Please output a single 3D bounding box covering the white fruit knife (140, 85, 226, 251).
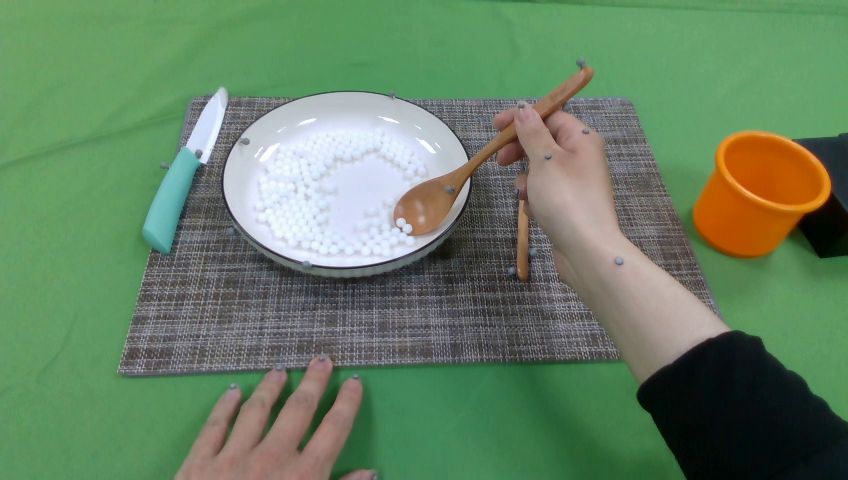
[{"bbox_3d":[-0.211,-0.075,0.543,0.027,0.016,0.205,24,46,-22],"label":"white fruit knife"}]

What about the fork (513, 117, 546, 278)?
[{"bbox_3d":[0.093,-0.050,0.543,0.018,0.028,0.206,-6,49,28],"label":"fork"}]

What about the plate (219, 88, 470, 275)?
[{"bbox_3d":[-0.065,-0.052,0.521,0.209,0.038,0.207,2,52,-2],"label":"plate"}]

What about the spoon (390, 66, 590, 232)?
[{"bbox_3d":[0.047,-0.068,0.469,0.022,0.194,0.041,7,51,-55],"label":"spoon"}]
